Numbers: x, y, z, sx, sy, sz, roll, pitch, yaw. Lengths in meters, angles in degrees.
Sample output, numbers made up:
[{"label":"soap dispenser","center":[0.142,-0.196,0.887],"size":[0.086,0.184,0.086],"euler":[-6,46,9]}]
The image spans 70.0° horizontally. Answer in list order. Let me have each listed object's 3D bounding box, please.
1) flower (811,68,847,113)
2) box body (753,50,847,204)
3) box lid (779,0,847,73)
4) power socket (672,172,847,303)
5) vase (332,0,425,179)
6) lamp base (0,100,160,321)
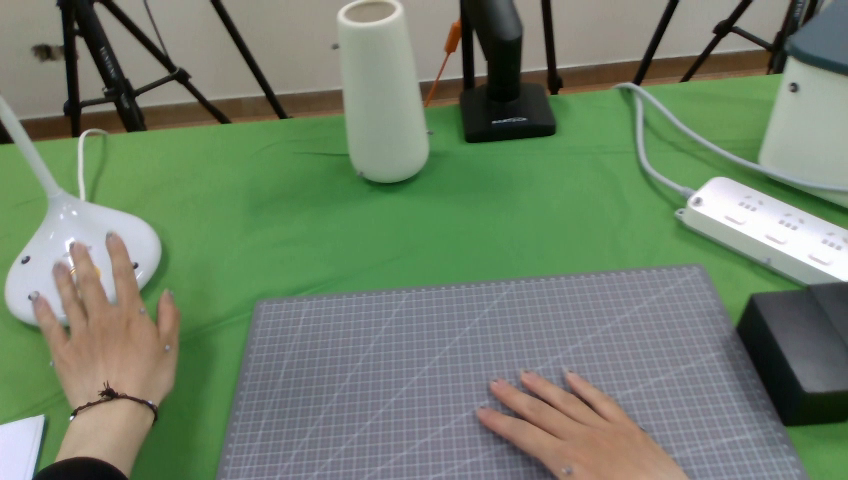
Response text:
[{"label":"flower","center":[0.579,-0.083,0.667],"size":[0.044,0.038,0.357],"euler":[-34,52,6]},{"label":"box body","center":[0.567,-0.126,0.611],"size":[0.360,0.162,0.254],"euler":[31,55,32]},{"label":"box lid","center":[0.562,-0.178,0.558],"size":[0.368,0.015,0.263],"euler":[31,56,32]},{"label":"power socket","center":[0.363,-0.003,0.600],"size":[0.072,0.033,0.224],"euler":[-35,50,-27]},{"label":"vase","center":[-0.052,-0.169,0.697],"size":[0.098,0.202,0.097],"euler":[-2,43,3]},{"label":"lamp base","center":[-0.382,-0.038,0.609],"size":[0.161,0.182,0.177],"euler":[-28,46,-21]}]
